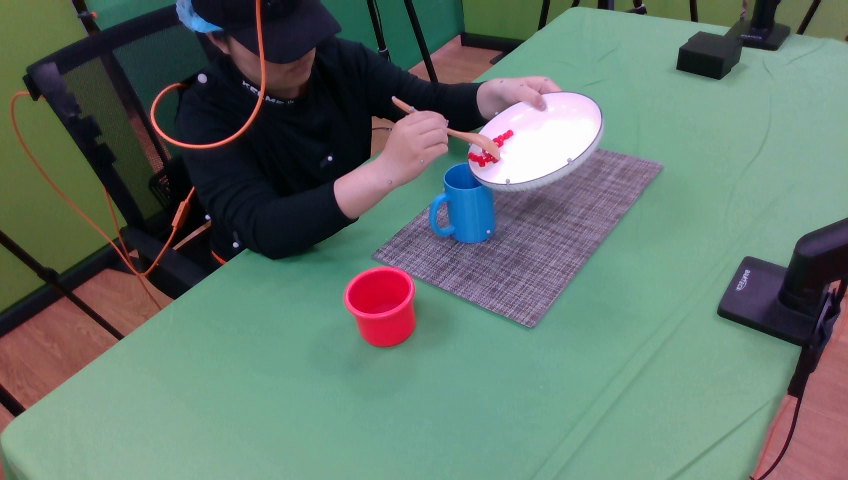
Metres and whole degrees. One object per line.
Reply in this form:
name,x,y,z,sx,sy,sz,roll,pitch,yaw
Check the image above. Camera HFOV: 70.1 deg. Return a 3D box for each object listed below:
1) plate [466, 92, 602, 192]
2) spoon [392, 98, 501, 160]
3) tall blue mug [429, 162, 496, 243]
plate,0.166,-0.143,0.912,0.207,0.039,0.206,-18,40,17
spoon,0.038,-0.166,0.905,0.195,0.021,0.041,19,39,-20
tall blue mug,0.067,-0.051,0.961,0.077,0.108,0.107,18,47,28
